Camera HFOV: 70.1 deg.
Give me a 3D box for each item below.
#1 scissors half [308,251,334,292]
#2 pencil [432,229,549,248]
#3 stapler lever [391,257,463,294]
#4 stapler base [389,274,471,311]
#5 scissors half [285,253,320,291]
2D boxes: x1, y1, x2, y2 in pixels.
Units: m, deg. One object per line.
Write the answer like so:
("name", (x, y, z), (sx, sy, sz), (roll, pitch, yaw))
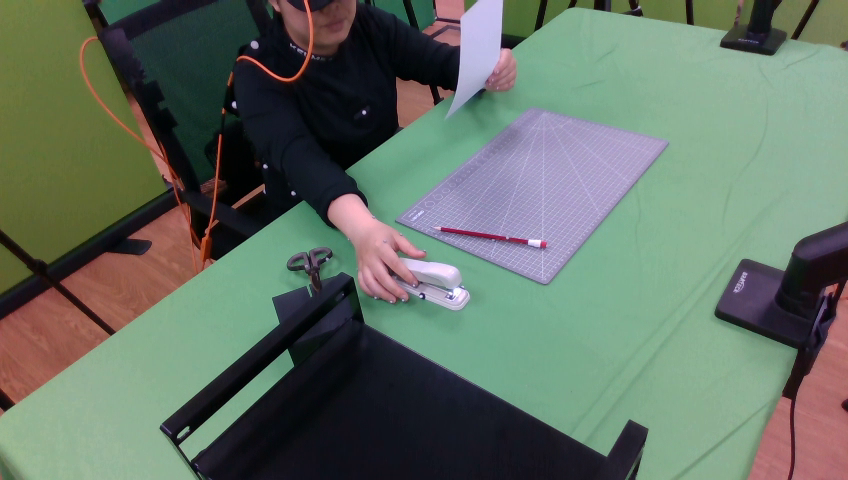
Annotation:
("scissors half", (-0.159, 0.046, 0.913), (0.040, 0.013, 0.174), (-5, 17, -5))
("pencil", (0.103, -0.004, 0.970), (0.193, 0.012, 0.012), (7, 42, 18))
("stapler lever", (0.003, 0.046, 0.881), (0.117, 0.040, 0.027), (18, 46, 30))
("stapler base", (0.008, 0.066, 0.897), (0.129, 0.024, 0.041), (18, 46, 29))
("scissors half", (-0.179, 0.049, 0.909), (0.040, 0.013, 0.174), (-16, 19, -20))
